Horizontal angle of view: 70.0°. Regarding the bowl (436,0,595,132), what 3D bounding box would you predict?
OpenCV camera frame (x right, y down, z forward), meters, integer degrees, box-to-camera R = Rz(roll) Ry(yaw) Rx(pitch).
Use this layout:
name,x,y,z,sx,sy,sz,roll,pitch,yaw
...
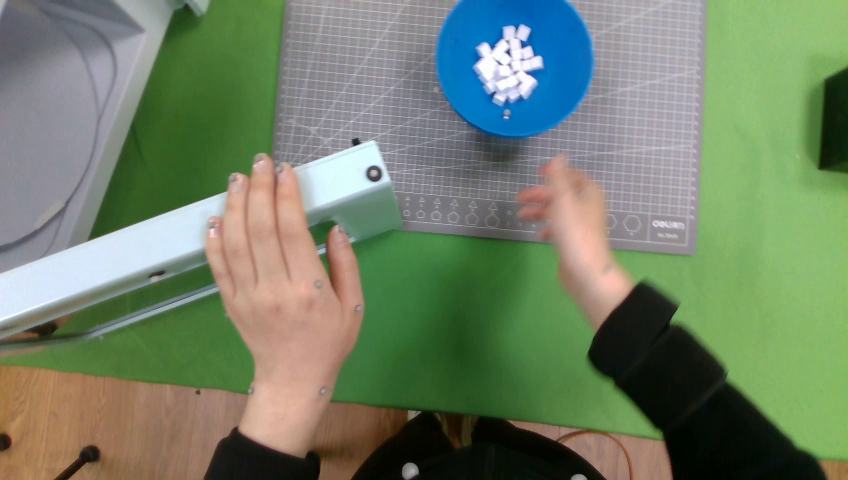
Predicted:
name,x,y,z,sx,sy,sz,roll,pitch,yaw
bowl,0.086,-0.174,0.604,0.151,0.077,0.151,0,87,-1

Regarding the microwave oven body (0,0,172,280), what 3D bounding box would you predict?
name,x,y,z,sx,sy,sz,roll,pitch,yaw
microwave oven body,-0.420,-0.174,0.505,0.326,0.260,0.441,19,87,0

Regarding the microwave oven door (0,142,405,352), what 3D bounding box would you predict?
name,x,y,z,sx,sy,sz,roll,pitch,yaw
microwave oven door,-0.191,0.015,0.493,0.356,0.244,0.039,-20,85,-2
